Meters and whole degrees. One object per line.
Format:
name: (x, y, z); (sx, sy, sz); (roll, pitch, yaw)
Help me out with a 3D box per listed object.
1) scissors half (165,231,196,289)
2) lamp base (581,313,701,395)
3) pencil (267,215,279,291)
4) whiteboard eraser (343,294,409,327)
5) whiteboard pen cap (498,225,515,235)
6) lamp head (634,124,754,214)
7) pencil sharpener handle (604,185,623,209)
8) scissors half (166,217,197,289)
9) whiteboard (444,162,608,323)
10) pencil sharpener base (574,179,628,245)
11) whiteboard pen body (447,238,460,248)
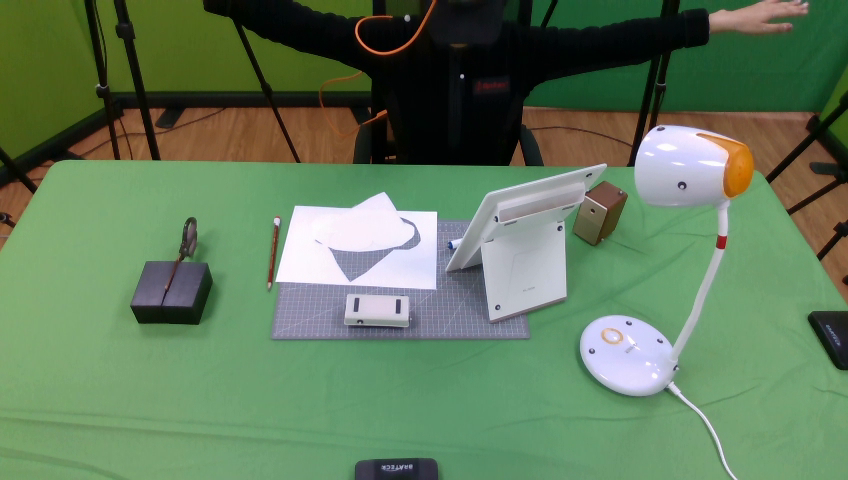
scissors half: (-0.441, 0.036, 1.098); (0.013, 0.040, 0.174); (12, 28, -10)
lamp base: (0.361, 0.144, 0.972); (0.178, 0.181, 0.160); (34, 53, 23)
pencil: (-0.291, 0.022, 1.164); (0.012, 0.012, 0.192); (-2, 48, -6)
whiteboard eraser: (-0.082, 0.124, 1.053); (0.113, 0.042, 0.055); (2, 45, -2)
whiteboard pen cap: (0.166, -0.019, 1.222); (0.033, 0.018, 0.018); (-14, 49, -19)
lamp head: (0.351, -0.089, 0.775); (0.112, 0.113, 0.122); (-30, 30, -28)
pencil sharpener handle: (0.390, -0.091, 1.235); (0.030, 0.068, 0.036); (-33, 69, -31)
scissors half: (-0.436, 0.020, 1.086); (0.013, 0.040, 0.174); (7, 47, -7)
whiteboard: (0.186, 0.025, 1.029); (0.217, 0.306, 0.143); (-14, 68, -18)
pencil sharpener base: (0.355, -0.057, 1.217); (0.076, 0.107, 0.061); (-33, 56, -31)
whiteboard pen body: (0.112, -0.005, 1.203); (0.141, 0.017, 0.017); (-14, 49, -18)
